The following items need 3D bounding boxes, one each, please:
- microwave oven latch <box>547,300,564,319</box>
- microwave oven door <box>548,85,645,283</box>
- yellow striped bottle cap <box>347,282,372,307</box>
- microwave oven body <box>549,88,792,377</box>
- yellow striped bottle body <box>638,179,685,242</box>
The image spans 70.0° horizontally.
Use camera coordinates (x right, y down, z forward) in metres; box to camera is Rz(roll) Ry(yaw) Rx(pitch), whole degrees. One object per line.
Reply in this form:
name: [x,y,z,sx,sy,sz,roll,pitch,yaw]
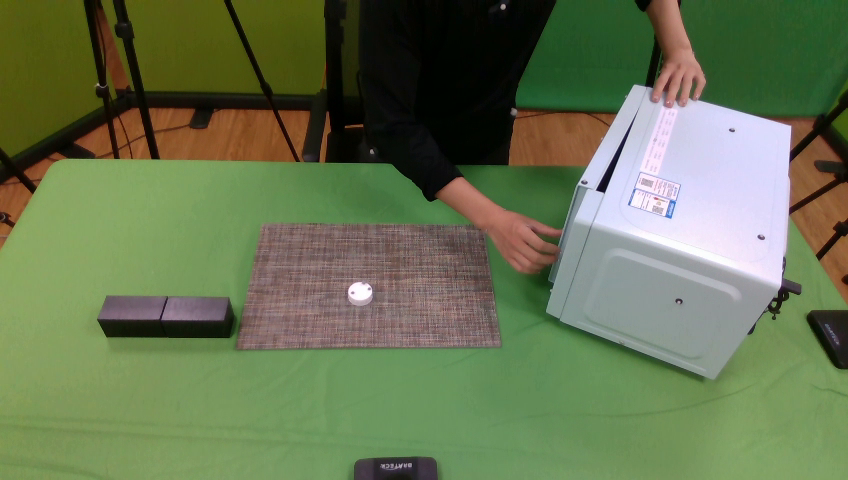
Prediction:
microwave oven latch: [0.242,0.102,1.081,0.030,0.029,0.079,21,48,17]
microwave oven door: [0.333,-0.110,1.151,0.039,0.245,0.355,23,49,17]
yellow striped bottle cap: [-0.117,0.098,1.093,0.044,0.019,0.044,3,45,-3]
microwave oven body: [0.456,-0.028,1.088,0.325,0.261,0.440,20,47,16]
yellow striped bottle body: [0.442,-0.057,1.124,0.063,0.121,0.062,-1,47,2]
